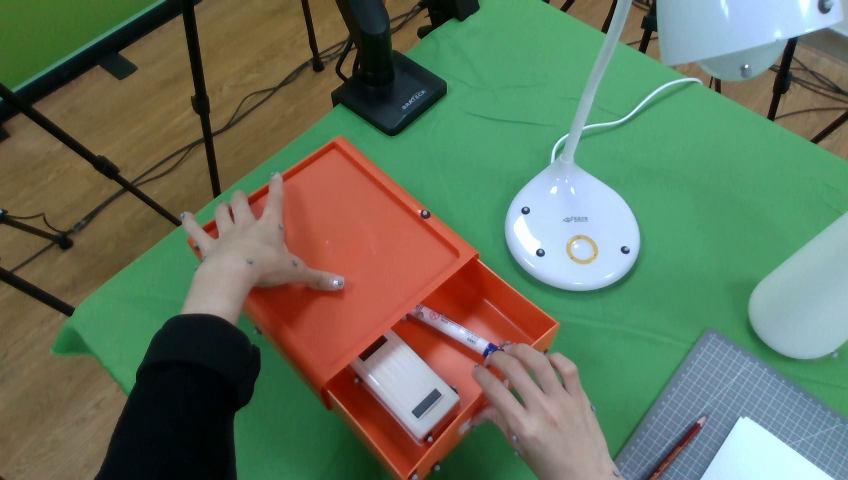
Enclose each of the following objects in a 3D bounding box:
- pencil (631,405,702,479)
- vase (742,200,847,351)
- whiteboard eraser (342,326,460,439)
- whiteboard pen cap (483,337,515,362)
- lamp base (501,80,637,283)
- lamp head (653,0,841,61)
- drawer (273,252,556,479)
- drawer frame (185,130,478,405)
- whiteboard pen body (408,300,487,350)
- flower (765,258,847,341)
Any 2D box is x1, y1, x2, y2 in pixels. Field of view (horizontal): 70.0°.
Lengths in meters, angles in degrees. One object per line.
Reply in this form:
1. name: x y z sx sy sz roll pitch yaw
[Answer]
1. pencil: 0.213 0.224 0.586 0.194 0.012 0.012 -37 65 -22
2. vase: 0.395 0.033 0.594 0.098 0.201 0.097 0 58 1
3. whiteboard eraser: -0.024 0.130 0.571 0.055 0.042 0.111 -41 61 -20
4. whiteboard pen cap: 0.072 0.108 0.589 0.033 0.018 0.018 25 61 24
5. lamp base: 0.169 -0.070 0.666 0.161 0.182 0.177 -13 57 -8
6. lamp head: 0.200 -0.190 0.400 0.112 0.112 0.123 -19 99 -11
7. drawer: -0.018 0.083 0.580 0.194 0.074 0.210 -40 66 -21
8. drawer frame: -0.091 0.020 0.616 0.201 0.083 0.212 -40 67 -21
9. whiteboard pen body: 0.019 0.082 0.608 0.140 0.017 0.017 28 62 16
10. flower: 0.412 -0.018 0.529 0.038 0.364 0.044 25 44 7
